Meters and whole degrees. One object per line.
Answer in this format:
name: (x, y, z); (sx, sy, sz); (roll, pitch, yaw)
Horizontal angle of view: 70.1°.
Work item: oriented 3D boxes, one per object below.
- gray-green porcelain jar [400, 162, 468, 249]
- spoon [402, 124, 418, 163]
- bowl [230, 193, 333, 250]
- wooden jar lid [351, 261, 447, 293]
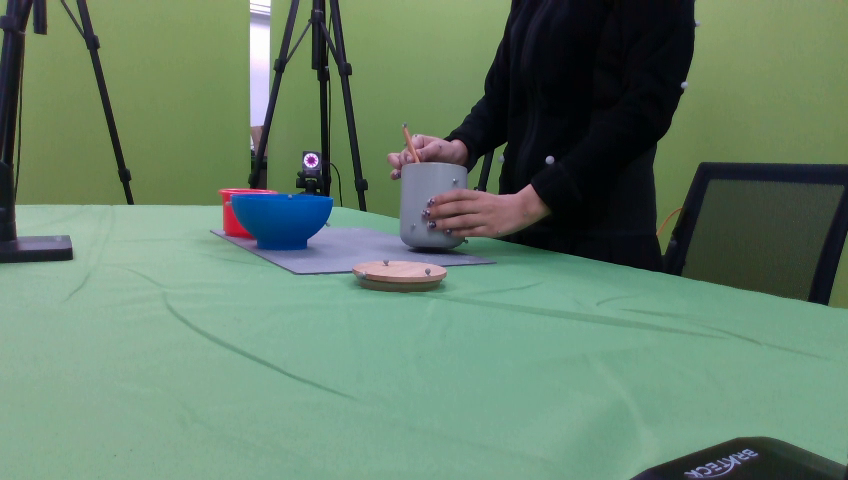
gray-green porcelain jar: (0.015, -0.051, 0.944); (0.106, 0.126, 0.106); (1, -3, 0)
spoon: (-0.011, -0.099, 0.954); (0.021, 0.193, 0.042); (-10, -18, 3)
bowl: (-0.214, -0.028, 0.912); (0.151, 0.077, 0.151); (2, 8, 0)
wooden jar lid: (-0.028, 0.042, 0.687); (0.108, 0.020, 0.108); (3, 8, 0)
